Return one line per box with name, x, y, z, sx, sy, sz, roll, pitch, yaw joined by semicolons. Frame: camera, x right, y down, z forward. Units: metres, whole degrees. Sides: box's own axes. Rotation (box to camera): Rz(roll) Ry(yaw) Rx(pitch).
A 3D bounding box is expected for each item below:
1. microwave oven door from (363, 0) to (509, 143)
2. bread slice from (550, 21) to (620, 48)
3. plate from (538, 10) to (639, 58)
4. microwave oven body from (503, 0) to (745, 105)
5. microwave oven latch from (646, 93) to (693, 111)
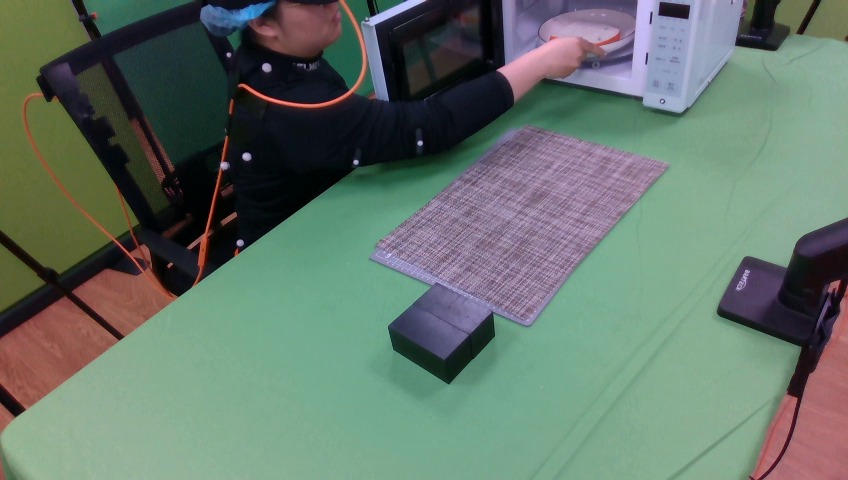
microwave oven door;0.040;-0.386;1.238;0.357;0.245;0.039;-37;47;-28
bread slice;0.355;-0.439;1.303;0.105;0.019;0.130;-36;44;-26
plate;0.352;-0.438;1.300;0.209;0.038;0.208;-6;39;6
microwave oven body;0.416;-0.486;1.290;0.438;0.261;0.327;21;50;33
microwave oven latch;0.477;-0.273;1.177;0.078;0.029;0.030;22;50;33
